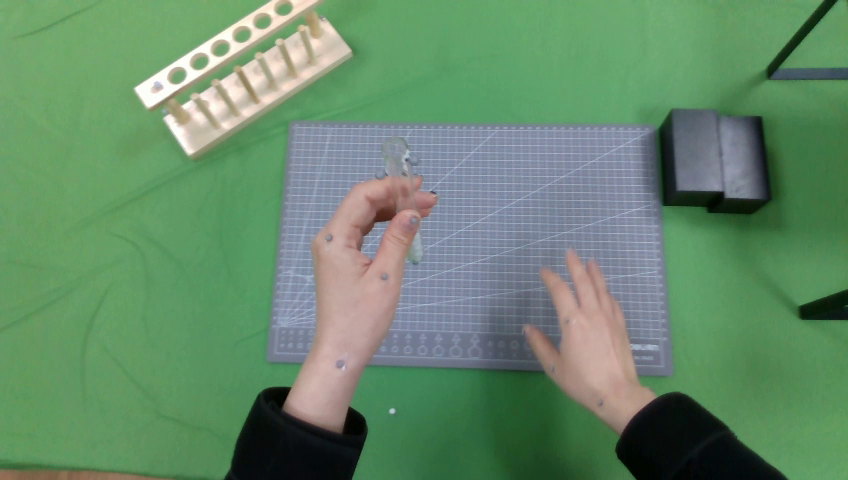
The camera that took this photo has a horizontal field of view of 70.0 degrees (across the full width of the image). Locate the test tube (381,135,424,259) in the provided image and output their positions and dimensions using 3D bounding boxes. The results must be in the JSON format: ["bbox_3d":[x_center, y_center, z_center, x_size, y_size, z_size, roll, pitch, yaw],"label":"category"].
[{"bbox_3d":[-0.012,-0.022,0.408,0.017,0.151,0.017,-1,64,3],"label":"test tube"}]

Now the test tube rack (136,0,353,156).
[{"bbox_3d":[-0.210,-0.210,0.736,0.242,0.085,0.066,-35,76,-6],"label":"test tube rack"}]
